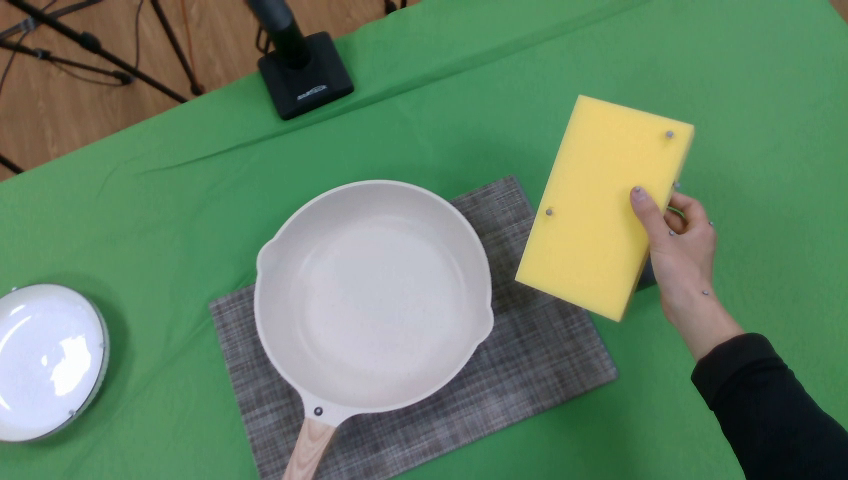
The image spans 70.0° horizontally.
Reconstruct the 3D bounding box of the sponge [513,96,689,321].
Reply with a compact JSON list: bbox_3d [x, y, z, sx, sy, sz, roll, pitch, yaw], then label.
[{"bbox_3d":[0.187,-0.033,0.644,0.117,0.061,0.207,20,99,22],"label":"sponge"}]

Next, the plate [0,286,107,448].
[{"bbox_3d":[-0.514,0.165,0.797,0.207,0.039,0.206,-1,71,5],"label":"plate"}]

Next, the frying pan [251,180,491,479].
[{"bbox_3d":[-0.101,0.157,0.721,0.306,0.103,0.485,17,66,12],"label":"frying pan"}]
